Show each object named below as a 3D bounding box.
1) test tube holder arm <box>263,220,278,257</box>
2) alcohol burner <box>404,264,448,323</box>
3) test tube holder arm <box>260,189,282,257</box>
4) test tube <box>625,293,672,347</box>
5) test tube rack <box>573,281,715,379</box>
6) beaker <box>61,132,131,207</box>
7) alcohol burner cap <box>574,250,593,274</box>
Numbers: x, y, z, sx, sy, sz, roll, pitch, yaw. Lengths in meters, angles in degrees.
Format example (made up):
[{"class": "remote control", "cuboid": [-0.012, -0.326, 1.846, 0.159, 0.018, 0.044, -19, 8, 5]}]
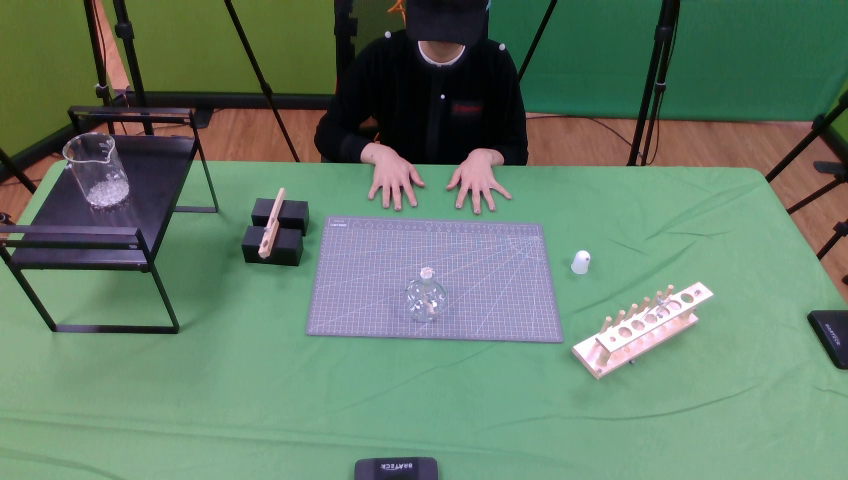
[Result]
[{"class": "test tube holder arm", "cuboid": [-0.282, -0.004, 1.115, 0.010, 0.015, 0.087, 1, 45, -1]}, {"class": "alcohol burner", "cuboid": [0.003, 0.087, 1.042, 0.078, 0.120, 0.077, 1, 45, 0]}, {"class": "test tube holder arm", "cuboid": [-0.289, -0.036, 1.147, 0.013, 0.015, 0.177, 0, 45, -2]}, {"class": "test tube", "cuboid": [0.355, 0.132, 0.971, 0.017, 0.151, 0.017, 6, 52, -7]}, {"class": "test tube rack", "cuboid": [0.378, 0.140, 1.038, 0.242, 0.085, 0.066, -22, 51, -23]}, {"class": "beaker", "cuboid": [-0.512, -0.107, 0.959, 0.083, 0.101, 0.074, 29, 51, 22]}, {"class": "alcohol burner cap", "cuboid": [0.308, 0.039, 1.163, 0.034, 0.048, 0.033, 1, 46, -1]}]
